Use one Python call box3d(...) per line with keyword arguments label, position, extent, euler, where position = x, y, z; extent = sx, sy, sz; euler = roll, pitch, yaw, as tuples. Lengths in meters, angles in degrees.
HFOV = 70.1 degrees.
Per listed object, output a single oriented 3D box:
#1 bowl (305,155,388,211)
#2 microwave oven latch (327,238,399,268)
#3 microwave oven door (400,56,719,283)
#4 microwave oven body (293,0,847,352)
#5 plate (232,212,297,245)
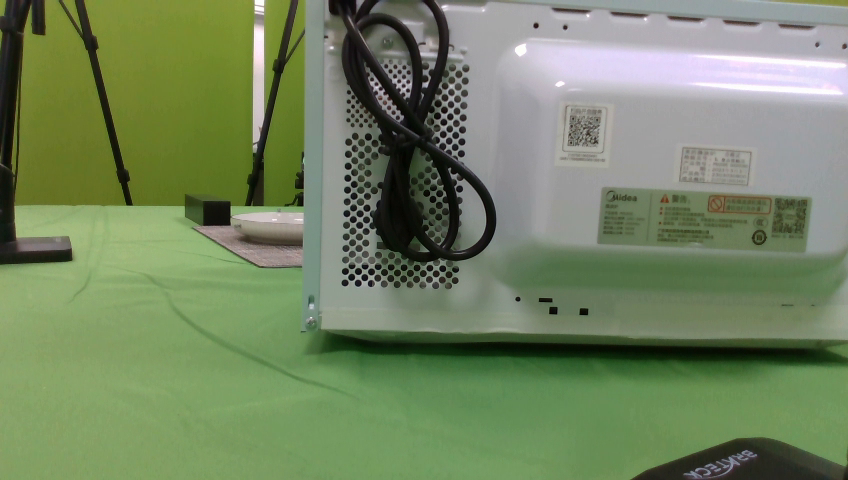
box3d(label="bowl", position=(-0.140, -0.102, 1.115), extent=(0.151, 0.077, 0.151), euler=(1, 22, 0))
box3d(label="microwave oven latch", position=(-0.069, 0.015, 0.694), extent=(0.079, 0.029, 0.030), euler=(3, 7, -3))
box3d(label="microwave oven door", position=(0.155, -0.077, 0.698), extent=(0.356, 0.243, 0.039), euler=(2, 8, -5))
box3d(label="microwave oven body", position=(0.122, -0.055, 0.550), extent=(0.442, 0.260, 0.325), euler=(3, 7, -5))
box3d(label="plate", position=(-0.214, -0.019, 1.018), extent=(0.208, 0.039, 0.207), euler=(2, 7, 0))
